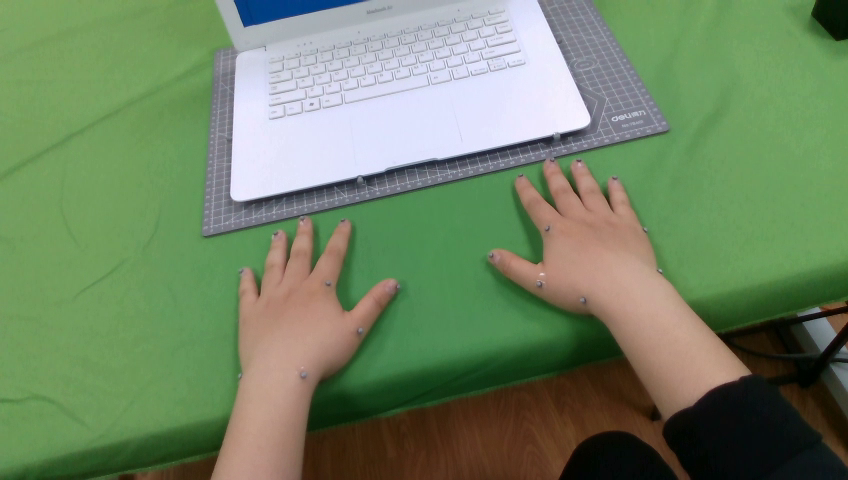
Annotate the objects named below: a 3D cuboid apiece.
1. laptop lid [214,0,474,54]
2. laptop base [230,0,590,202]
[{"bbox_3d":[-0.068,-0.334,0.631,0.357,0.244,0.013,-13,45,2],"label":"laptop lid"},{"bbox_3d":[-0.030,-0.160,0.644,0.354,0.023,0.233,-12,56,1],"label":"laptop base"}]
